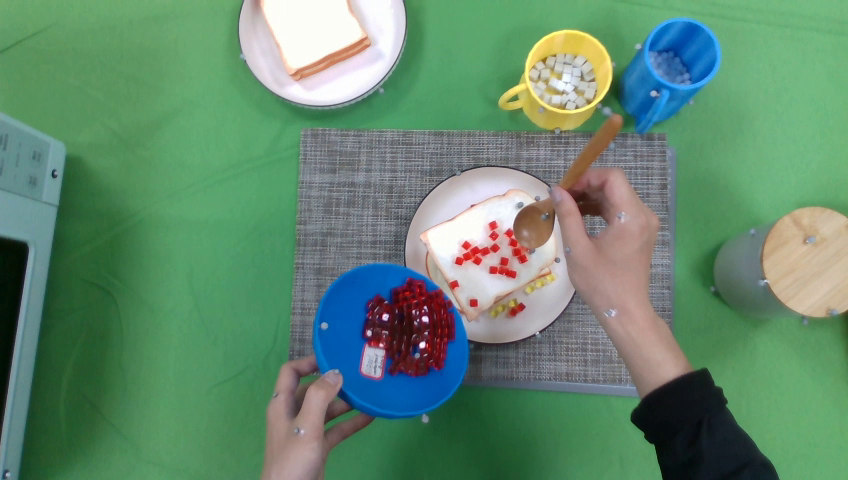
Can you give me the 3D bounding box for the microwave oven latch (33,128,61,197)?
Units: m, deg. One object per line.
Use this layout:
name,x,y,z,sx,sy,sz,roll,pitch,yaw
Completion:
microwave oven latch,-0.456,-0.092,0.721,0.030,0.029,0.079,7,84,2

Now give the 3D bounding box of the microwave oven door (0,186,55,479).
microwave oven door,-0.479,0.111,0.596,0.039,0.244,0.354,4,83,3

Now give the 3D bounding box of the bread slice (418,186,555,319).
bread slice,0.072,0.004,0.650,0.134,0.018,0.107,-33,90,-10

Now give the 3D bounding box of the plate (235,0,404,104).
plate,-0.126,-0.266,0.752,0.207,0.039,0.207,0,83,2

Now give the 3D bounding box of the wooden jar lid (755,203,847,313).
wooden jar lid,0.377,0.018,0.595,0.108,0.021,0.108,0,86,0

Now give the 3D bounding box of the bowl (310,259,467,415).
bowl,-0.043,0.101,0.579,0.152,0.077,0.150,14,54,-20

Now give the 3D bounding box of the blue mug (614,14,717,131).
blue mug,0.267,-0.181,0.697,0.082,0.106,0.116,23,84,5

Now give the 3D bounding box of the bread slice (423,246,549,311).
bread slice,0.067,0.022,0.711,0.131,0.019,0.104,-30,82,-3

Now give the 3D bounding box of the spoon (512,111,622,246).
spoon,0.121,-0.047,0.530,0.021,0.194,0.041,-32,75,-24

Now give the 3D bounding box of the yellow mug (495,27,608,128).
yellow mug,0.147,-0.186,0.720,0.131,0.064,0.099,-19,82,1

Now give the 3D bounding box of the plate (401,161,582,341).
plate,0.077,0.013,0.708,0.209,0.038,0.208,0,83,2

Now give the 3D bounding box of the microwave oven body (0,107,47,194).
microwave oven body,-0.620,0.060,0.611,0.326,0.261,0.440,4,84,2

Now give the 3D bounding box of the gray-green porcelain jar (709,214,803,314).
gray-green porcelain jar,0.381,0.028,0.657,0.106,0.127,0.105,0,83,2
